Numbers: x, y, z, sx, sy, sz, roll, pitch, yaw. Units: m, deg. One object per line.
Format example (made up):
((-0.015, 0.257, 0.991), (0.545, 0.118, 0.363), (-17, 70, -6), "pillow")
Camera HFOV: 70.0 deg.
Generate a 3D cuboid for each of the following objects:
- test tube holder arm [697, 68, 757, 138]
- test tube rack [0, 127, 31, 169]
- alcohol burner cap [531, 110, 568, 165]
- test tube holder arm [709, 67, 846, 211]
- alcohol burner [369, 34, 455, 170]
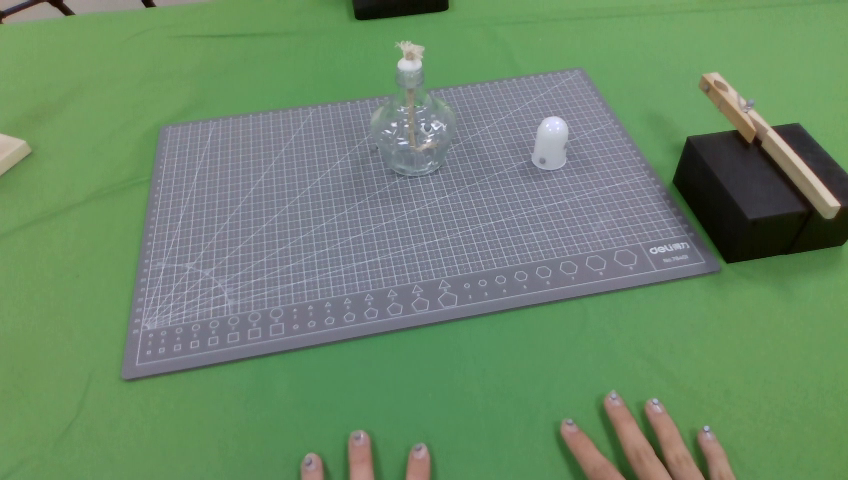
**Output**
((0.263, -0.119, 0.522), (0.010, 0.015, 0.087), (-18, 49, 0), "test tube holder arm")
((-0.465, -0.048, 0.502), (0.066, 0.086, 0.241), (17, 51, 16), "test tube rack")
((0.115, -0.095, 0.549), (0.034, 0.048, 0.033), (-1, 48, 2), "alcohol burner cap")
((0.279, -0.089, 0.493), (0.013, 0.015, 0.176), (-19, 49, -1), "test tube holder arm")
((-0.011, -0.122, 0.528), (0.078, 0.120, 0.077), (-2, 46, 2), "alcohol burner")
